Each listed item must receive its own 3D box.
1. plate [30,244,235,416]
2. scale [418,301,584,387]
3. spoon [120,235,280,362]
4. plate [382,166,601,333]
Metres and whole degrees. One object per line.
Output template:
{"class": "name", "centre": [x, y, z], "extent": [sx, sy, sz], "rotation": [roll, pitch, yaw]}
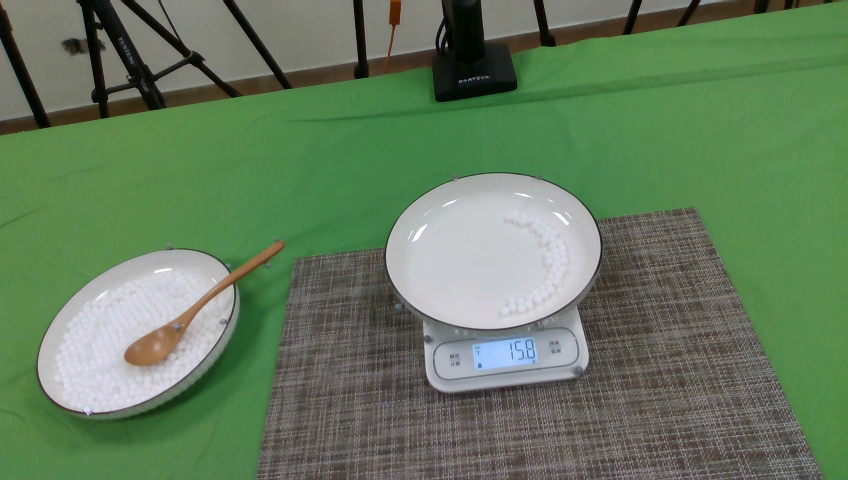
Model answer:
{"class": "plate", "centre": [-0.296, 0.092, 0.634], "extent": [0.209, 0.038, 0.207], "rotation": [-5, 47, 6]}
{"class": "scale", "centre": [0.066, 0.046, 0.601], "extent": [0.148, 0.032, 0.199], "rotation": [-8, 47, 4]}
{"class": "spoon", "centre": [-0.227, 0.057, 0.629], "extent": [0.193, 0.022, 0.041], "rotation": [-43, 54, -17]}
{"class": "plate", "centre": [0.064, 0.008, 0.591], "extent": [0.207, 0.039, 0.205], "rotation": [-5, 47, 6]}
